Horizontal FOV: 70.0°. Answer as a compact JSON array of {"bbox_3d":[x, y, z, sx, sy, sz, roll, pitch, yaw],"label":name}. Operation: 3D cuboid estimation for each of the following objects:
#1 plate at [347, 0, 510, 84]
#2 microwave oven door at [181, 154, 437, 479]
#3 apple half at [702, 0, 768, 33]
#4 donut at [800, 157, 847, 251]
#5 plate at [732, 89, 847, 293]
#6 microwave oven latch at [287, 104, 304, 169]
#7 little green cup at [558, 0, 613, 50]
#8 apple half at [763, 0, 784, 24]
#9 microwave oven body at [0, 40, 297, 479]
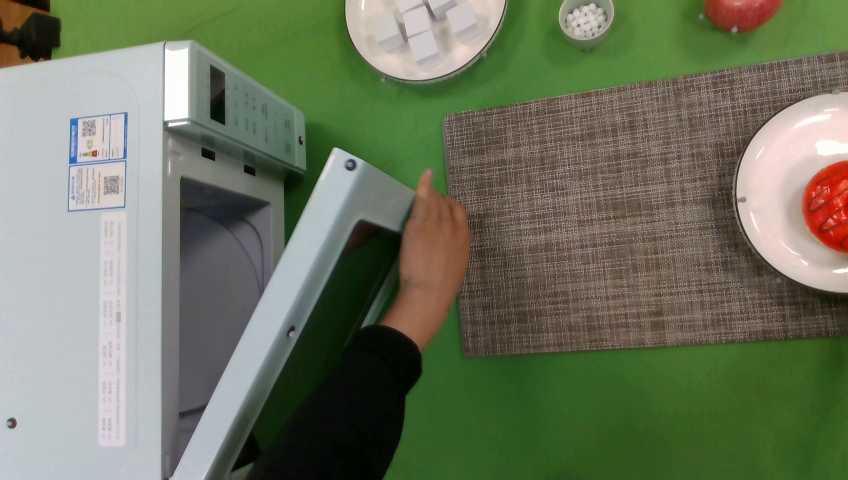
[{"bbox_3d":[0.006,-0.293,0.759,0.207,0.039,0.207,-1,85,15],"label":"plate"},{"bbox_3d":[-0.109,0.096,0.635,0.039,0.245,0.356,27,93,17],"label":"microwave oven door"},{"bbox_3d":[0.330,-0.261,0.653,0.053,0.075,0.080,-15,85,18],"label":"apple half"},{"bbox_3d":[0.435,-0.036,0.610,0.099,0.048,0.099,-1,86,16],"label":"donut"},{"bbox_3d":[0.428,-0.049,0.624,0.208,0.038,0.208,-1,85,15],"label":"plate"},{"bbox_3d":[-0.170,-0.131,0.773,0.030,0.029,0.079,-1,86,14],"label":"microwave oven latch"},{"bbox_3d":[0.189,-0.254,0.708,0.061,0.039,0.061,-1,85,15],"label":"little green cup"},{"bbox_3d":[0.366,-0.272,0.643,0.033,0.082,0.081,-16,81,18],"label":"apple half"},{"bbox_3d":[-0.332,0.045,0.702,0.325,0.261,0.440,-3,85,14],"label":"microwave oven body"}]
